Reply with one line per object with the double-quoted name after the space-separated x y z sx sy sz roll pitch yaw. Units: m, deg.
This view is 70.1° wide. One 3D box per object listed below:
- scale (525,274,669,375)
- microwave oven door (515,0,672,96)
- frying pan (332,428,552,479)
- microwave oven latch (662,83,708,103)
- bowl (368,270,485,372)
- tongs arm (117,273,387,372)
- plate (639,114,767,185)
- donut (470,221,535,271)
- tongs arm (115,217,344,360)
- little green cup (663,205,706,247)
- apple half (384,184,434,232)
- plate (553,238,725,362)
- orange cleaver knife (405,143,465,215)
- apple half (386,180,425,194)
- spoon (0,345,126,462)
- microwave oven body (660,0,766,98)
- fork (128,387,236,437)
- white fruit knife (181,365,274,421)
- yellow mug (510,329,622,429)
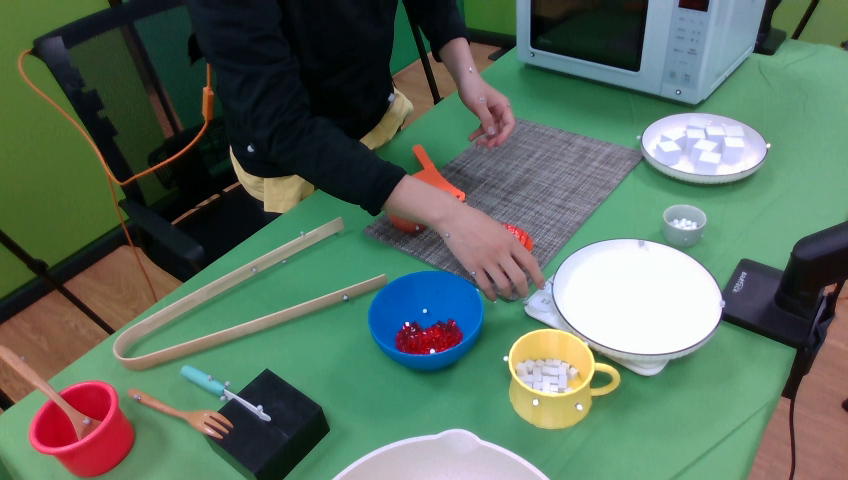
0.254 0.091 0.821 0.199 0.032 0.149 28 51 35 "scale"
0.344 -0.455 1.259 0.353 0.245 0.039 26 51 33 "microwave oven door"
-0.089 0.306 0.564 0.487 0.103 0.306 10 41 7 "frying pan"
0.517 -0.296 1.204 0.078 0.029 0.030 28 52 35 "microwave oven latch"
0.007 0.118 0.791 0.151 0.077 0.150 -5 39 4 "bowl"
-0.236 0.116 0.870 0.389 0.028 0.028 -18 49 -12 "tongs arm"
0.489 -0.157 1.074 0.207 0.039 0.206 -4 40 4 "plate"
0.119 0.008 0.923 0.099 0.048 0.098 -4 38 3 "donut"
-0.280 0.068 0.927 0.386 0.026 0.050 -29 49 -23 "tongs arm"
0.396 -0.020 0.926 0.061 0.039 0.061 -4 40 4 "little green cup"
-0.022 -0.046 0.987 0.081 0.075 0.053 -7 44 -6 "apple half"
0.273 0.078 0.783 0.209 0.038 0.208 -4 41 4 "plate"
0.005 -0.113 1.102 0.077 0.012 0.209 -23 45 -10 "orange cleaver knife"
-0.028 -0.072 1.015 0.081 0.081 0.032 -10 44 -2 "apple half"
-0.434 0.192 0.720 0.194 0.021 0.042 47 53 -7 "spoon"
0.472 -0.513 1.317 0.438 0.261 0.327 26 51 34 "microwave oven body"
-0.305 0.208 0.744 0.206 0.019 0.028 3 41 36 "fork"
-0.245 0.187 0.747 0.205 0.027 0.016 9 41 41 "white fruit knife"
0.169 0.164 0.721 0.130 0.064 0.099 0 40 8 "yellow mug"
